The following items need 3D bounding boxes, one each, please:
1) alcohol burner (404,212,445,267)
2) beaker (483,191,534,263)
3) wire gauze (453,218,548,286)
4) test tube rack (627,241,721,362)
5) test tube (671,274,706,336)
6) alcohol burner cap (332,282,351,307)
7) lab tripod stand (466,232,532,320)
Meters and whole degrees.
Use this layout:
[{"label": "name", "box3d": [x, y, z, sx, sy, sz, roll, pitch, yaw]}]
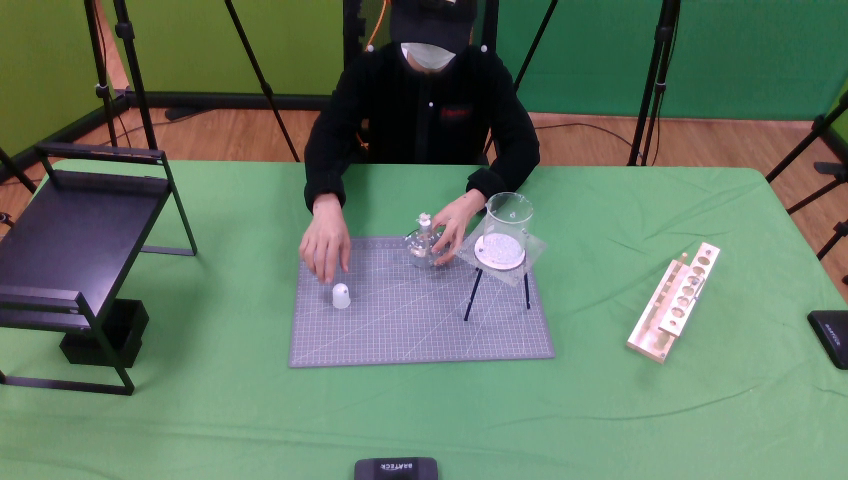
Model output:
[{"label": "alcohol burner", "box3d": [0.002, -0.005, 1.133, 0.078, 0.120, 0.077, 1, 47, -1]}, {"label": "beaker", "box3d": [0.135, -0.020, 0.983, 0.073, 0.101, 0.084, 28, 50, 23]}, {"label": "wire gauze", "box3d": [0.129, 0.014, 1.018, 0.124, 0.011, 0.121, 26, 47, 25]}, {"label": "test tube rack", "box3d": [0.452, 0.098, 1.087, 0.066, 0.085, 0.242, 28, 51, 22]}, {"label": "test tube", "box3d": [0.429, 0.112, 1.004, 0.017, 0.151, 0.017, 4, 43, -4]}, {"label": "alcohol burner cap", "box3d": [-0.147, 0.093, 1.076, 0.034, 0.048, 0.033, 2, 53, -3]}, {"label": "lab tripod stand", "box3d": [0.125, 0.059, 1.065, 0.148, 0.132, 0.147, 1, 45, 0]}]
